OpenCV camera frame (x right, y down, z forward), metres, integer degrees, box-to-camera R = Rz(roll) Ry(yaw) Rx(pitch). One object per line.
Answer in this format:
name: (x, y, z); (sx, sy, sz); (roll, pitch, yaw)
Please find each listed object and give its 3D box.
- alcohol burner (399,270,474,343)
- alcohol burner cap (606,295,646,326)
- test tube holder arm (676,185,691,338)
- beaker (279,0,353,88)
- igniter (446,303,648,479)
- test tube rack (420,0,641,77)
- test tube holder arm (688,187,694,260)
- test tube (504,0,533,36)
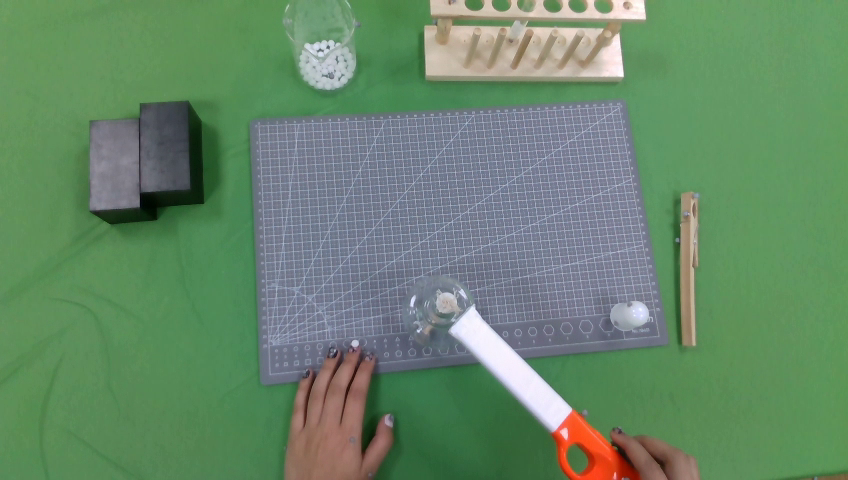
alcohol burner: (0.015, 0.065, 0.614); (0.078, 0.119, 0.077); (2, 76, -6)
alcohol burner cap: (0.225, 0.076, 0.668); (0.034, 0.048, 0.033); (1, 76, -5)
test tube holder arm: (0.300, 0.024, 0.700); (0.013, 0.015, 0.177); (14, 76, -37)
beaker: (-0.116, -0.219, 0.673); (0.074, 0.100, 0.083); (-2, 78, -5)
igniter: (0.126, 0.165, 0.542); (0.276, 0.025, 0.057); (45, 75, 1)
test tube rack: (0.120, -0.242, 0.707); (0.243, 0.085, 0.066); (-1, 78, -5)
test tube holder arm: (0.309, -0.019, 0.712); (0.010, 0.015, 0.087); (16, 75, -37)
test tube: (0.113, -0.265, 0.660); (0.017, 0.150, 0.017); (2, 79, -8)
